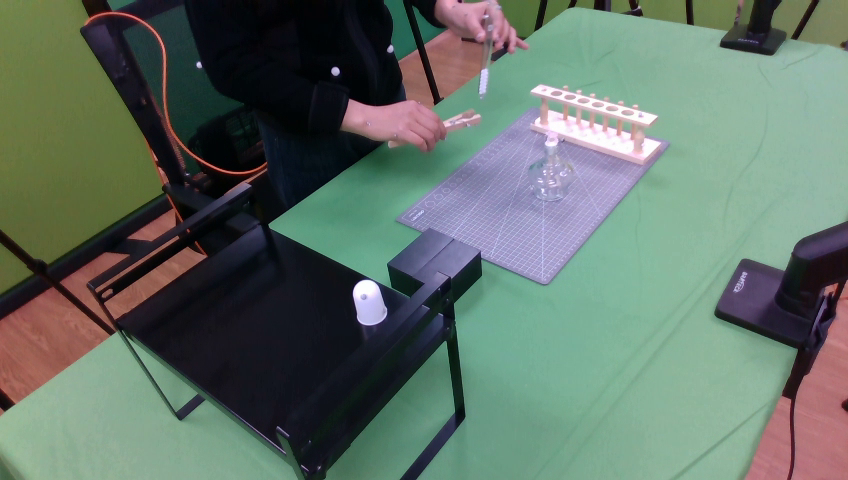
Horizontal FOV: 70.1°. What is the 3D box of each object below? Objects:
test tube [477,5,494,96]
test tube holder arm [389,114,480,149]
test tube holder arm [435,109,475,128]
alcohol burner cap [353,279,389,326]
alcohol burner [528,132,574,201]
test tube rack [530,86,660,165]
[{"bbox_3d":[0.103,-0.316,1.016,0.017,0.150,0.017,2,31,-1],"label":"test tube"},{"bbox_3d":[0.020,-0.187,1.033,0.179,0.015,0.013,-22,48,-24],"label":"test tube holder arm"},{"bbox_3d":[0.054,-0.207,1.056,0.088,0.015,0.010,-30,52,-29],"label":"test tube holder arm"},{"bbox_3d":[-0.055,0.061,0.616,0.034,0.048,0.033,-5,41,5],"label":"alcohol burner cap"},{"bbox_3d":[0.214,-0.126,1.016,0.078,0.119,0.077,-5,38,5],"label":"alcohol burner"},{"bbox_3d":[0.320,-0.226,1.140,0.240,0.085,0.067,27,51,34],"label":"test tube rack"}]
